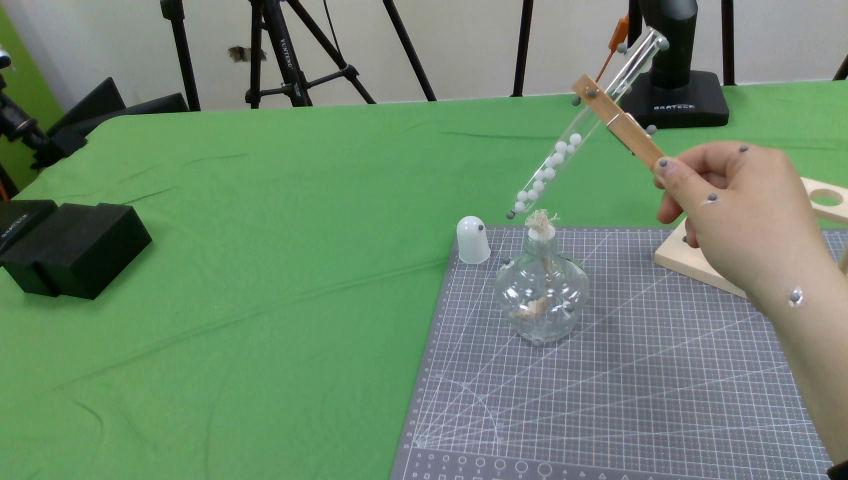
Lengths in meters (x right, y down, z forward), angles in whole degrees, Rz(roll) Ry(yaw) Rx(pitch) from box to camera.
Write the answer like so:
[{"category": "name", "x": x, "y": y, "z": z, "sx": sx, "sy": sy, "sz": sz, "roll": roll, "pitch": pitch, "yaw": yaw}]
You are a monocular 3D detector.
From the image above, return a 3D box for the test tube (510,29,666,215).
[{"category": "test tube", "x": 0.108, "y": -0.076, "z": 0.415, "sx": 0.017, "sy": 0.150, "sz": 0.017, "roll": 31, "pitch": 23, "yaw": -14}]

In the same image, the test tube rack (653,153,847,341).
[{"category": "test tube rack", "x": 0.310, "y": 0.014, "z": 0.470, "sx": 0.240, "sy": 0.086, "sz": 0.066, "roll": 26, "pitch": 52, "yaw": 36}]

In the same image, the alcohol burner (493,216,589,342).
[{"category": "alcohol burner", "x": 0.093, "y": 0.027, "z": 0.486, "sx": 0.078, "sy": 0.120, "sz": 0.077, "roll": -6, "pitch": 42, "yaw": 5}]

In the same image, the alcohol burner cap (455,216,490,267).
[{"category": "alcohol burner cap", "x": 0.046, "y": -0.002, "z": 0.588, "sx": 0.034, "sy": 0.048, "sz": 0.033, "roll": -6, "pitch": 41, "yaw": 6}]

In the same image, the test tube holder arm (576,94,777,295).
[{"category": "test tube holder arm", "x": 0.159, "y": -0.039, "z": 0.392, "sx": 0.015, "sy": 0.013, "sz": 0.177, "roll": -43, "pitch": 72, "yaw": 21}]

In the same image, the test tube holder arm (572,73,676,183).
[{"category": "test tube holder arm", "x": 0.131, "y": -0.073, "z": 0.398, "sx": 0.087, "sy": 0.015, "sz": 0.010, "roll": 51, "pitch": 20, "yaw": 9}]
